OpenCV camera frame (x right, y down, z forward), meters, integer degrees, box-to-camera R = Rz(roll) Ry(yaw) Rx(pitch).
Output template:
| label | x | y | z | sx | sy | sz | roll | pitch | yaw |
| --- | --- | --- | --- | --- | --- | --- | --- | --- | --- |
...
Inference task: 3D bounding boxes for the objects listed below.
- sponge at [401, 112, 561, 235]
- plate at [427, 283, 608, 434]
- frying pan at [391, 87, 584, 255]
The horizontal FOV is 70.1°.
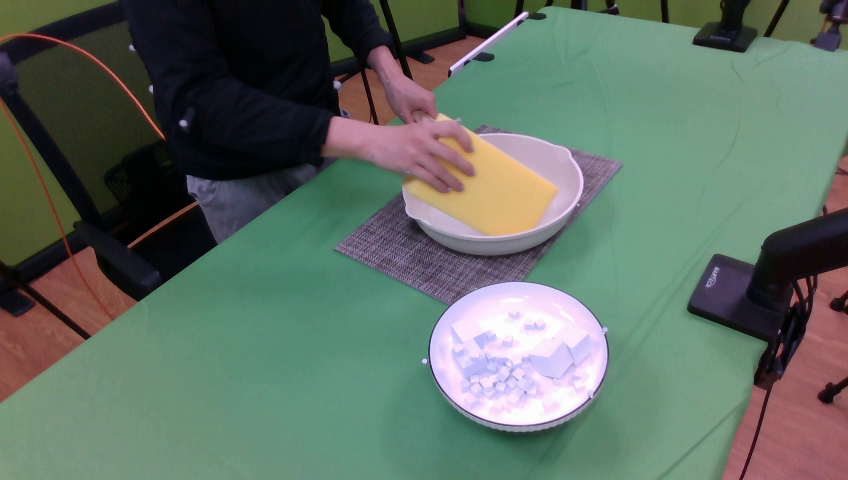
| label | x | y | z | sx | sy | sz | roll | pitch | yaw |
| --- | --- | --- | --- | --- | --- | --- | --- | --- | --- |
| sponge | 0.085 | -0.082 | 0.890 | 0.208 | 0.118 | 0.060 | 27 | 12 | -25 |
| plate | 0.108 | 0.137 | 0.708 | 0.207 | 0.039 | 0.206 | -4 | 42 | 4 |
| frying pan | 0.063 | -0.143 | 1.056 | 0.308 | 0.103 | 0.483 | -22 | 51 | -18 |
